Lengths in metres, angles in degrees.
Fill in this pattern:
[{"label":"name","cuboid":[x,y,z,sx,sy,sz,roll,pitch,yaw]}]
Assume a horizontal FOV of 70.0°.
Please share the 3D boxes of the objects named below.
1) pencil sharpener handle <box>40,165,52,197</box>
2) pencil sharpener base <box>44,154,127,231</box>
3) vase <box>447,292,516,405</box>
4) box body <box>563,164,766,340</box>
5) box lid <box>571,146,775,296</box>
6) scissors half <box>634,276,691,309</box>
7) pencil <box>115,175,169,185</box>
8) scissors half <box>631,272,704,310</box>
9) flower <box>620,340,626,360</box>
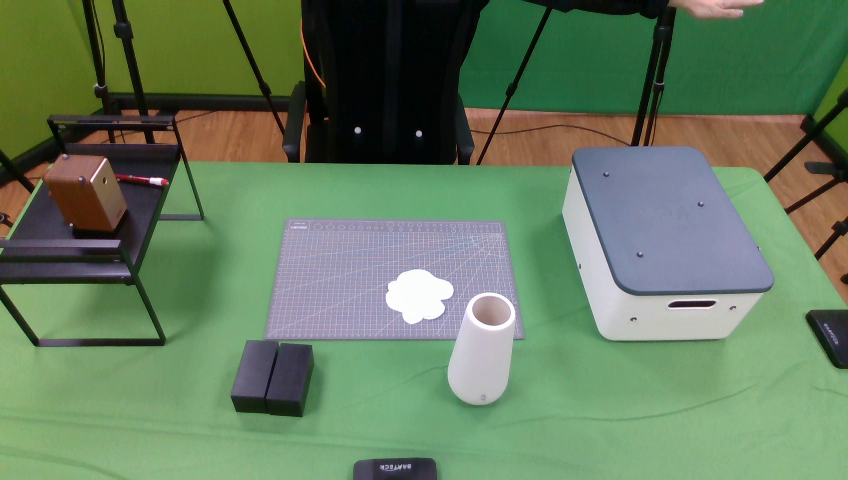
[{"label":"pencil sharpener handle","cuboid":[-0.562,-0.085,0.911,0.030,0.068,0.036,3,58,0]},{"label":"pencil sharpener base","cuboid":[-0.512,-0.071,0.918,0.077,0.107,0.061,3,47,0]},{"label":"vase","cuboid":[0.091,0.168,0.921,0.098,0.201,0.097,3,47,-3]},{"label":"box body","cuboid":[0.421,0.003,1.130,0.254,0.161,0.361,0,46,-5]},{"label":"box lid","cuboid":[0.424,-0.048,1.074,0.263,0.015,0.369,-1,46,-4]},{"label":"scissors half","cuboid":[0.454,0.096,1.144,0.175,0.040,0.013,-19,88,-31]},{"label":"pencil","cuboid":[-0.523,-0.106,1.020,0.194,0.012,0.012,6,46,5]},{"label":"scissors half","cuboid":[0.460,0.092,1.132,0.175,0.040,0.013,-22,83,-21]},{"label":"flower","cuboid":[0.416,0.065,1.186,0.038,0.044,0.360,29,64,-21]}]
